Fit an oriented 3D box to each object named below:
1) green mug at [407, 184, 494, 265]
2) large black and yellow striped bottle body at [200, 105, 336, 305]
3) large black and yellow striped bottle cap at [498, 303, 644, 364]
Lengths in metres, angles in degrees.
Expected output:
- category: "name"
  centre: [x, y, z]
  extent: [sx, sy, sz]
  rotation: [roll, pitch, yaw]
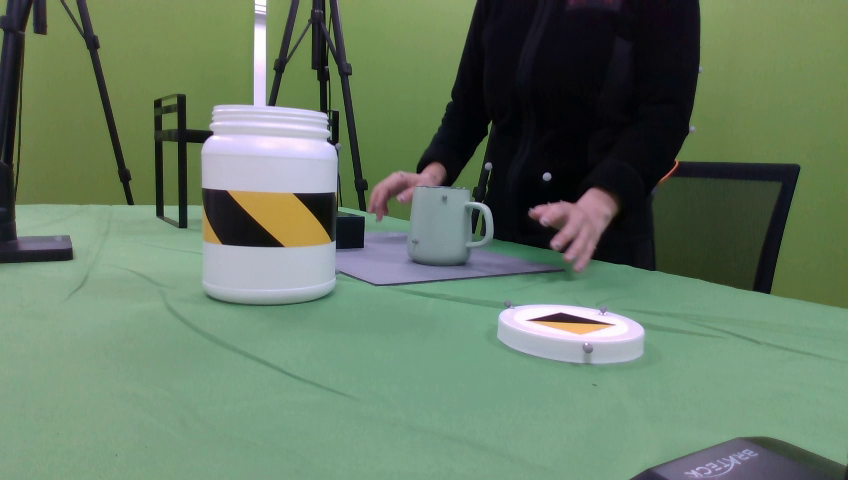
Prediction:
- category: "green mug"
  centre: [0.038, -0.021, 0.828]
  extent: [0.125, 0.105, 0.093]
  rotation: [6, 8, 29]
- category: "large black and yellow striped bottle body"
  centre: [-0.154, -0.038, 0.606]
  extent: [0.131, 0.184, 0.130]
  rotation: [2, 7, 0]
- category: "large black and yellow striped bottle cap"
  centre: [0.117, 0.072, 0.487]
  extent: [0.115, 0.019, 0.115]
  rotation: [1, 8, 0]
